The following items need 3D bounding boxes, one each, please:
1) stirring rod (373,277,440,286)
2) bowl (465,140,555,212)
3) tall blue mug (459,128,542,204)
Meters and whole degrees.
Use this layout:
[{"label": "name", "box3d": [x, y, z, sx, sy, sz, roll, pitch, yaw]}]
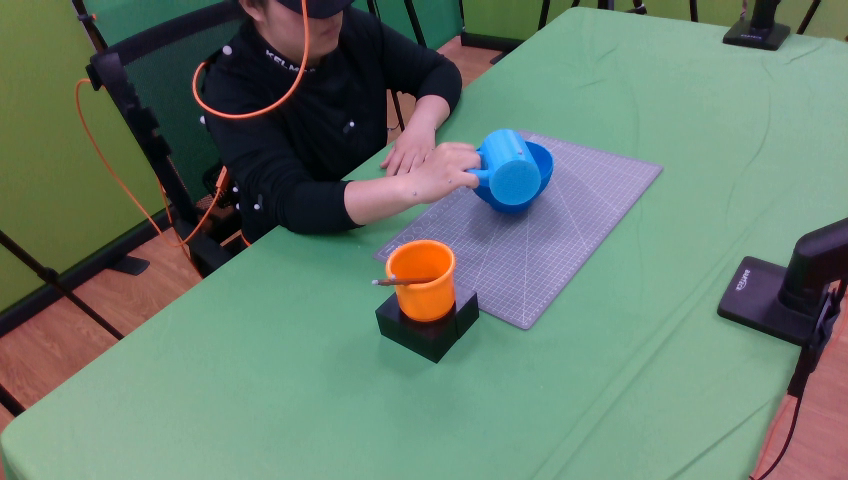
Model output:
[{"label": "stirring rod", "box3d": [-0.018, 0.051, 0.758, 0.014, 0.006, 0.177, 13, 3, 23]}, {"label": "bowl", "box3d": [0.145, -0.100, 1.025, 0.151, 0.077, 0.150, -5, 40, 5]}, {"label": "tall blue mug", "box3d": [0.116, -0.118, 0.912, 0.108, 0.077, 0.107, 24, 28, -20]}]
